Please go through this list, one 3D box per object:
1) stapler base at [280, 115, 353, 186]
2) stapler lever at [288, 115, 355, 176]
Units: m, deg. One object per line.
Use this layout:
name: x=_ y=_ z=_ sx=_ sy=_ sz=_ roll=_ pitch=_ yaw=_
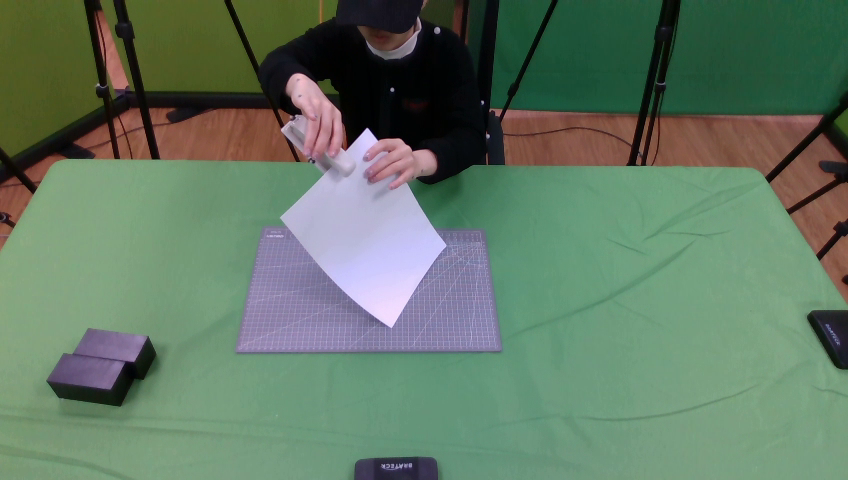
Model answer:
stapler base: x=-0.165 y=-0.143 z=0.958 sx=0.131 sy=0.024 sz=0.041 roll=44 pitch=65 yaw=-14
stapler lever: x=-0.155 y=-0.146 z=0.936 sx=0.118 sy=0.040 sz=0.027 roll=45 pitch=65 yaw=-16
